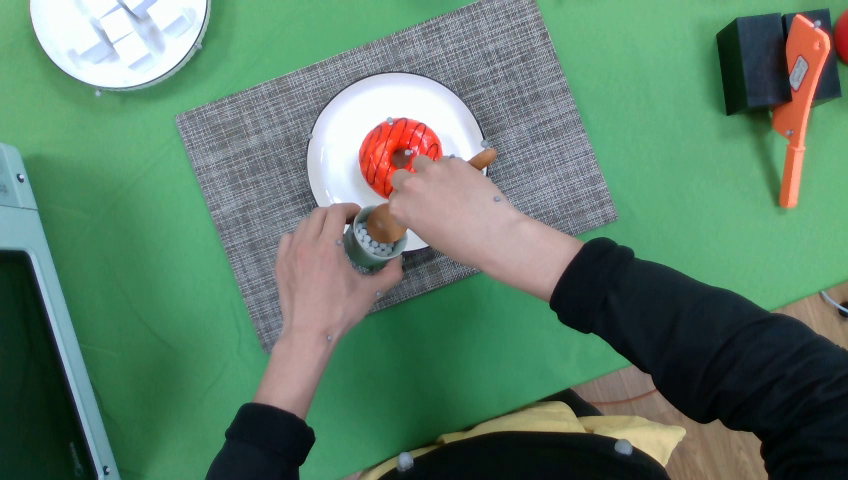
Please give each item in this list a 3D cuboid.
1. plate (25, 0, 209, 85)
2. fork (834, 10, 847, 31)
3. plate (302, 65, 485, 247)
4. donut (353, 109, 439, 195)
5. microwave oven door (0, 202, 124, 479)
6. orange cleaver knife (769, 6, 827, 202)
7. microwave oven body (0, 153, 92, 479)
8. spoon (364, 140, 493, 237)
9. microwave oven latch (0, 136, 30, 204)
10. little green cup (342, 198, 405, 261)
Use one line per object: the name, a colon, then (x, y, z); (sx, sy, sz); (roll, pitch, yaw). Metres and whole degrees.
plate: (-0.351, -0.281, 0.706); (0.208, 0.039, 0.207); (0, 89, 0)
fork: (0.563, -0.248, 0.650); (0.206, 0.019, 0.028); (8, 87, 42)
plate: (-0.034, -0.095, 0.700); (0.209, 0.038, 0.209); (0, 90, 0)
donut: (-0.031, -0.099, 0.689); (0.099, 0.048, 0.099); (0, 92, 1)
microwave oven door: (-0.412, 0.129, 0.583); (0.039, 0.244, 0.355); (-18, 89, 0)
orange cleaver knife: (0.410, -0.148, 0.681); (0.012, 0.076, 0.213); (-6, 119, 3)
microwave oven body: (-0.564, 0.133, 0.588); (0.326, 0.260, 0.441); (-18, 90, -1)
spoon: (-0.001, -0.044, 0.562); (0.021, 0.193, 0.042); (-37, 96, -37)
microwave oven latch: (-0.477, -0.078, 0.686); (0.030, 0.029, 0.079); (-17, 90, -1)
little green cup: (-0.054, -0.008, 0.627); (0.062, 0.038, 0.061); (12, 63, -25)
